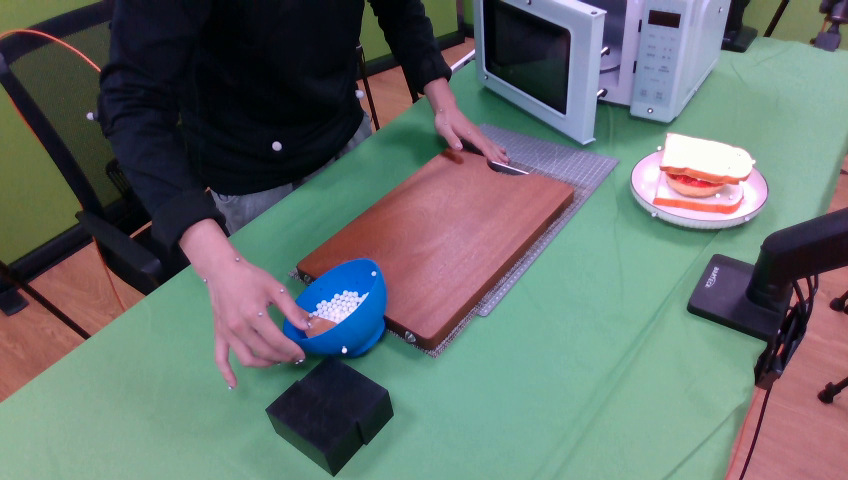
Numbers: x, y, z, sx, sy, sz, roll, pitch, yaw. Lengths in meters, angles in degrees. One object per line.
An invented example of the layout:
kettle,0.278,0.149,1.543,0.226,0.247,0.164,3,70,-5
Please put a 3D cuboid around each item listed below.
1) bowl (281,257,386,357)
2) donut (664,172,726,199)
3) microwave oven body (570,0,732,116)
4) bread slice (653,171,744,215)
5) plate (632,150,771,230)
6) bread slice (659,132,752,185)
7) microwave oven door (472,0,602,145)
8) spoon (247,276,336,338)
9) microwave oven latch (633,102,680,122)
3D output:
bowl,-0.104,0.102,0.802,0.151,0.077,0.150,-26,28,16
donut,0.438,-0.105,0.972,0.099,0.048,0.098,-9,41,8
microwave oven body,0.377,-0.462,1.267,0.438,0.261,0.327,21,49,30
bread slice,0.452,-0.084,0.992,0.131,0.019,0.105,11,45,21
plate,0.447,-0.081,0.988,0.207,0.039,0.206,-4,40,4
bread slice,0.443,-0.126,0.951,0.134,0.018,0.107,14,43,14
microwave oven door,0.206,-0.362,1.166,0.039,0.245,0.352,-25,44,-20
spoon,-0.183,0.088,0.824,0.192,0.022,0.042,30,55,32
microwave oven latch,0.444,-0.249,1.157,0.078,0.029,0.030,22,49,30
